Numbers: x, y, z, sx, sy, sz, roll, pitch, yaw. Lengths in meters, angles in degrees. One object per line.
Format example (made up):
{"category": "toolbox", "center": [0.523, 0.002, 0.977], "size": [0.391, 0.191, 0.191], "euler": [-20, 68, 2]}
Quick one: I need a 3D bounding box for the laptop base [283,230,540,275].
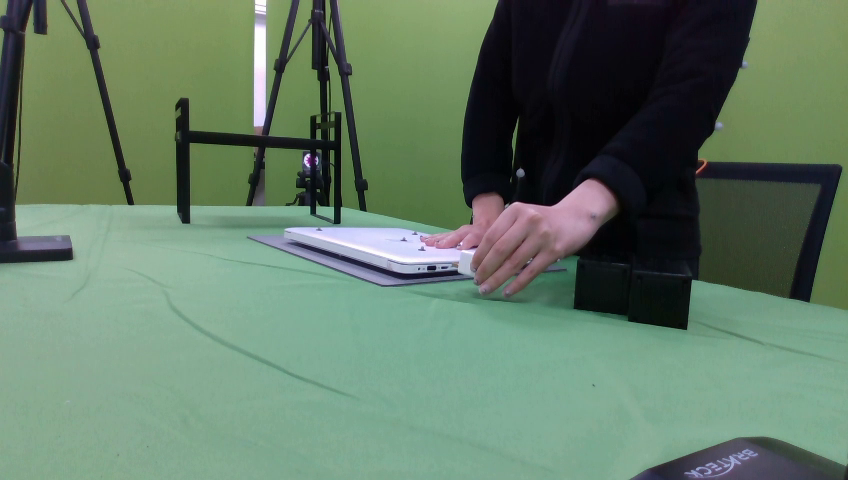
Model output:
{"category": "laptop base", "center": [-0.034, 0.014, 0.896], "size": [0.237, 0.023, 0.352], "euler": [1, 7, -37]}

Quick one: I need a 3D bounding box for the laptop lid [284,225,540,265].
{"category": "laptop lid", "center": [-0.032, 0.003, 0.896], "size": [0.243, 0.013, 0.355], "euler": [1, 7, -35]}

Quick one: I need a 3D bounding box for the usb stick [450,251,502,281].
{"category": "usb stick", "center": [0.053, 0.026, 0.641], "size": [0.059, 0.027, 0.021], "euler": [7, 1, 43]}
